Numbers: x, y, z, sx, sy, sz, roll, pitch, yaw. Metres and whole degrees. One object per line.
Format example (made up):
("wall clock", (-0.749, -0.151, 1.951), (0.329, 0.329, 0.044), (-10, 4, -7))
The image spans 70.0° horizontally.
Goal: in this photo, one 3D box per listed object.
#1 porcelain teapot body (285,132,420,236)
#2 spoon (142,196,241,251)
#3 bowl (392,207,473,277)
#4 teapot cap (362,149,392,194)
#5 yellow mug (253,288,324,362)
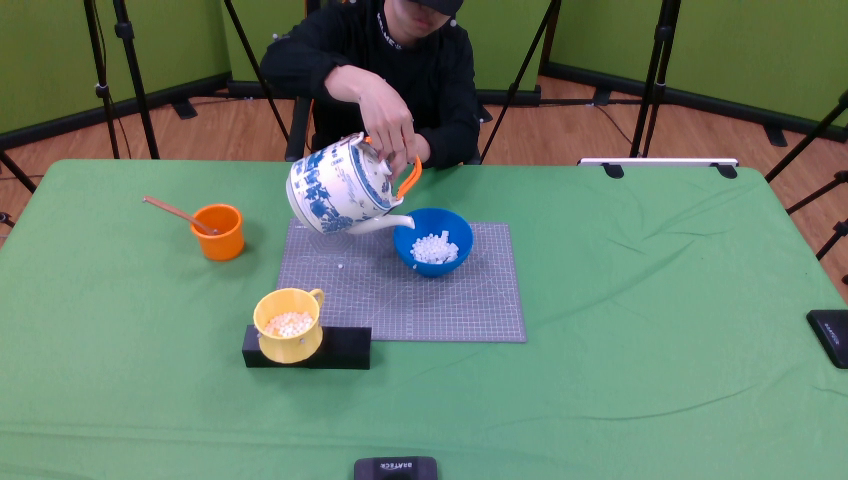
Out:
("porcelain teapot body", (-0.101, -0.085, 1.063), (0.225, 0.206, 0.144), (-22, 32, 17))
("spoon", (-0.421, -0.032, 1.108), (0.021, 0.195, 0.041), (-33, 39, 27))
("bowl", (0.014, 0.016, 1.140), (0.151, 0.077, 0.150), (2, 47, -2))
("teapot cap", (-0.079, -0.119, 1.036), (0.044, 0.085, 0.084), (-22, 45, 13))
("yellow mug", (-0.205, 0.124, 0.963), (0.099, 0.064, 0.130), (27, 48, 21))
